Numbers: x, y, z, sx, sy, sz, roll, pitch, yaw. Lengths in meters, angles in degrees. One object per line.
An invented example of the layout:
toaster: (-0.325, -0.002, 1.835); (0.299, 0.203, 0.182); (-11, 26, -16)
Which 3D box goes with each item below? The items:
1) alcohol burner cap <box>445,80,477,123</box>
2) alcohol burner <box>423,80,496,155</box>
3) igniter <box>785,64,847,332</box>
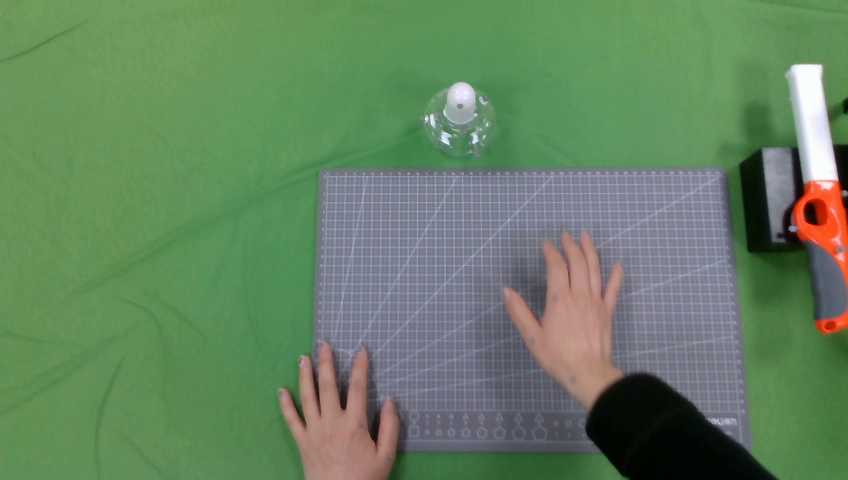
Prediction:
alcohol burner cap: (0.037, -0.139, 0.597); (0.034, 0.048, 0.033); (0, 80, 3)
alcohol burner: (0.037, -0.133, 0.628); (0.078, 0.119, 0.077); (0, 80, 3)
igniter: (0.394, -0.047, 0.604); (0.057, 0.025, 0.275); (1, 77, 3)
